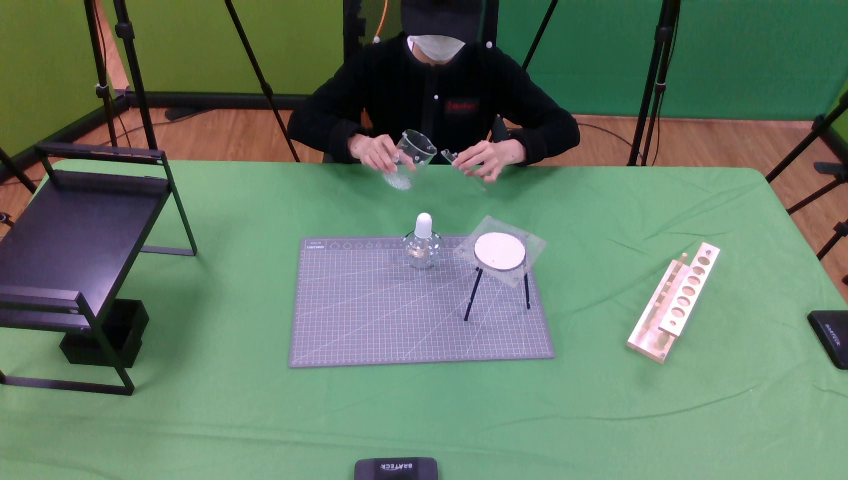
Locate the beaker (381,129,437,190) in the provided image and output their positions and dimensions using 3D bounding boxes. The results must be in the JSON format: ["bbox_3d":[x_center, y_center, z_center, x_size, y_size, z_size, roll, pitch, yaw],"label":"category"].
[{"bbox_3d":[-0.030,-0.152,1.167,0.084,0.100,0.073,-7,52,-52],"label":"beaker"}]

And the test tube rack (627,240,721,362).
[{"bbox_3d":[0.452,0.098,1.087,0.066,0.085,0.242,28,51,22],"label":"test tube rack"}]

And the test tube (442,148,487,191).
[{"bbox_3d":[0.084,-0.140,1.227,0.017,0.151,0.017,-22,51,30],"label":"test tube"}]

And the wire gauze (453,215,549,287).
[{"bbox_3d":[0.129,0.012,1.017,0.124,0.011,0.121,28,50,23],"label":"wire gauze"}]

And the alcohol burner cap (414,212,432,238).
[{"bbox_3d":[0.000,-0.030,1.107,0.034,0.048,0.033,4,41,-3],"label":"alcohol burner cap"}]

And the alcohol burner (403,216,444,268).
[{"bbox_3d":[-0.001,-0.004,1.132,0.078,0.120,0.077,1,46,0],"label":"alcohol burner"}]

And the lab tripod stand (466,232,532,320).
[{"bbox_3d":[0.125,0.059,1.065,0.148,0.132,0.147,1,45,0],"label":"lab tripod stand"}]
